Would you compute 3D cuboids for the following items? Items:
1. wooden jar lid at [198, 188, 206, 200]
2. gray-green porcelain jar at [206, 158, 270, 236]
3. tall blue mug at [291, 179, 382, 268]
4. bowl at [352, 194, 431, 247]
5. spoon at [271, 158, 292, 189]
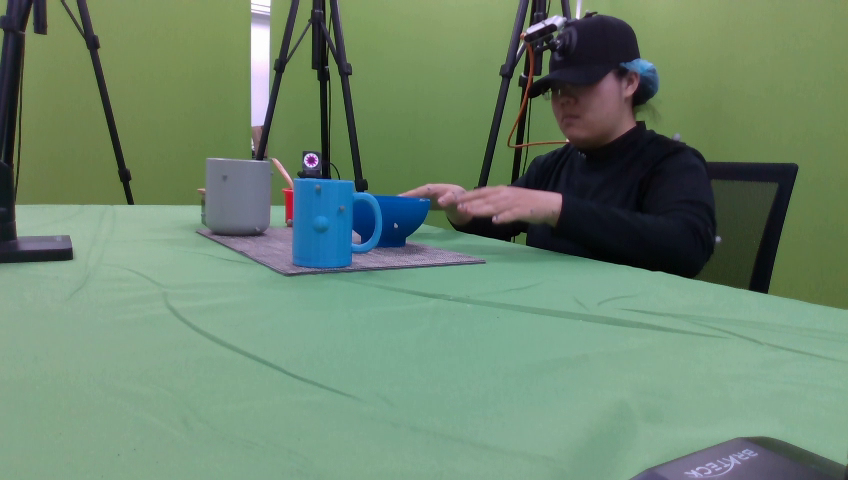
[{"bbox_3d":[-0.382,-0.088,1.175,0.108,0.020,0.108,3,8,0],"label":"wooden jar lid"},{"bbox_3d":[-0.317,-0.074,1.032,0.106,0.126,0.106,3,7,0],"label":"gray-green porcelain jar"},{"bbox_3d":[-0.116,-0.023,0.779,0.108,0.108,0.077,-2,8,-33],"label":"tall blue mug"},{"bbox_3d":[-0.066,-0.032,0.984,0.151,0.077,0.151,2,7,0],"label":"bowl"},{"bbox_3d":[-0.268,-0.103,1.236,0.042,0.193,0.021,-10,-32,-39],"label":"spoon"}]
